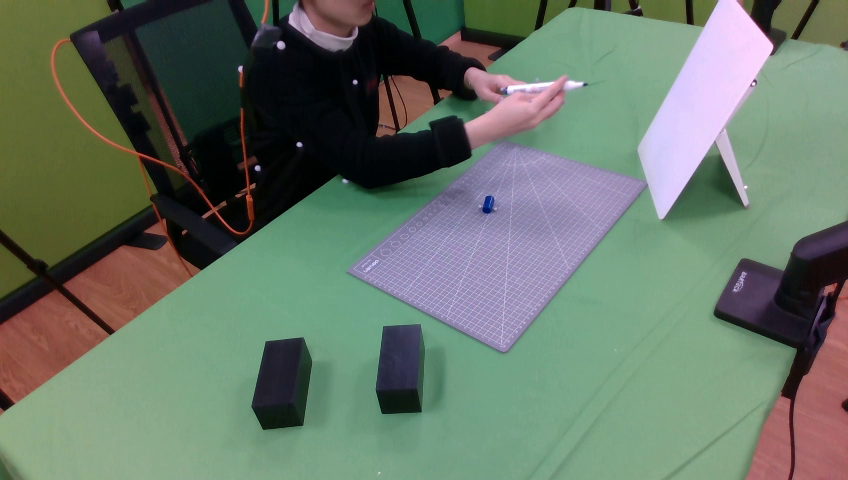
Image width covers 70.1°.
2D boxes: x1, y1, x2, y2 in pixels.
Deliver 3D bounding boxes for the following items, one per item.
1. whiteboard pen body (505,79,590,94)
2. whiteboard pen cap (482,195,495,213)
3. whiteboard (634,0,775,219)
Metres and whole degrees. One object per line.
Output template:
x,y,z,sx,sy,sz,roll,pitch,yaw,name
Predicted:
0.204,-0.256,1.006,0.140,0.017,0.017,1,40,23,whiteboard pen body
0.109,-0.060,1.028,0.018,0.018,0.033,6,44,15,whiteboard pen cap
0.485,-0.193,0.957,0.144,0.305,0.216,14,41,-4,whiteboard
